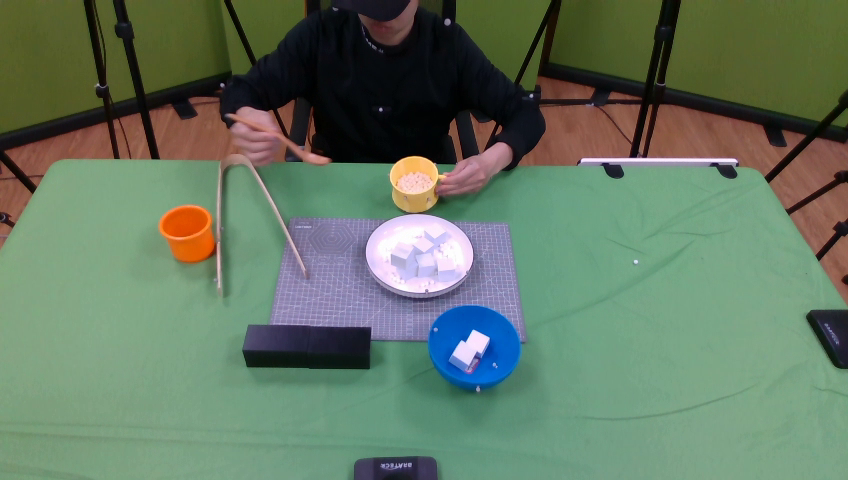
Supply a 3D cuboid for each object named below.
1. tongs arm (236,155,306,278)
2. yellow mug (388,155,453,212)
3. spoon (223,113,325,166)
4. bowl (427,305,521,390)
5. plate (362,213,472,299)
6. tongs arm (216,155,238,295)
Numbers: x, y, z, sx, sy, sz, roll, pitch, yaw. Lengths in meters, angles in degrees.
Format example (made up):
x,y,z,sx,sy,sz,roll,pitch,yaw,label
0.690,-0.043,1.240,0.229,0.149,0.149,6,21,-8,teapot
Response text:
x,y,z,sx,sy,sz,roll,pitch,yaw,label
-0.311,-0.059,1.224,0.028,0.028,0.385,-22,50,-18,tongs arm
-0.006,-0.117,1.252,0.131,0.064,0.099,-1,58,1,yellow mug
-0.269,-0.182,1.093,0.194,0.021,0.041,29,26,-14,spoon
0.076,0.188,0.985,0.151,0.077,0.150,3,46,-3,bowl
-0.013,0.034,1.150,0.208,0.039,0.206,2,46,-2,plate
-0.387,-0.043,1.201,0.051,0.026,0.382,-9,46,-12,tongs arm
